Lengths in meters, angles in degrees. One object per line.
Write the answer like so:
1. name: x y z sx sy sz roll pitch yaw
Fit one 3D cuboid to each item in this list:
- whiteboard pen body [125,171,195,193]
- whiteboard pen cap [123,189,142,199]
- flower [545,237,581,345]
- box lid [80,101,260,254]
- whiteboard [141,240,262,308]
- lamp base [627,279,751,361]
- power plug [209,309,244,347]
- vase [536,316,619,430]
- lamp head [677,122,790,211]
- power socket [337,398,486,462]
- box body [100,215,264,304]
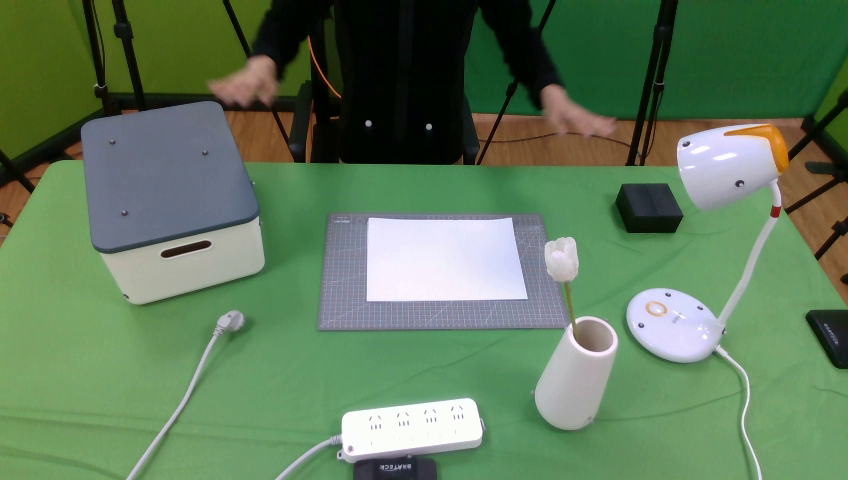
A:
1. whiteboard pen body: -0.553 -0.119 1.270 0.141 0.017 0.017 -18 50 -15
2. whiteboard pen cap: -0.591 -0.093 1.231 0.033 0.018 0.018 -13 49 -18
3. flower: 0.213 0.137 0.846 0.038 0.364 0.044 21 55 40
4. box lid: -0.461 -0.127 1.082 0.264 0.015 0.369 -15 49 -19
5. whiteboard: -0.464 -0.059 1.137 0.217 0.144 0.303 -19 51 -17
6. lamp base: 0.460 0.100 1.027 0.178 0.181 0.160 27 51 17
7. power plug: -0.334 0.148 1.019 0.035 0.053 0.072 36 75 23
8. vase: 0.229 0.200 0.901 0.098 0.201 0.097 3 46 -3
9. lamp head: 0.423 -0.104 0.819 0.122 0.113 0.112 -13 33 40
10. power socket: -0.017 0.286 0.914 0.227 0.033 0.071 -4 46 -8
11. box body: -0.465 -0.077 1.137 0.254 0.161 0.361 -16 50 -19
